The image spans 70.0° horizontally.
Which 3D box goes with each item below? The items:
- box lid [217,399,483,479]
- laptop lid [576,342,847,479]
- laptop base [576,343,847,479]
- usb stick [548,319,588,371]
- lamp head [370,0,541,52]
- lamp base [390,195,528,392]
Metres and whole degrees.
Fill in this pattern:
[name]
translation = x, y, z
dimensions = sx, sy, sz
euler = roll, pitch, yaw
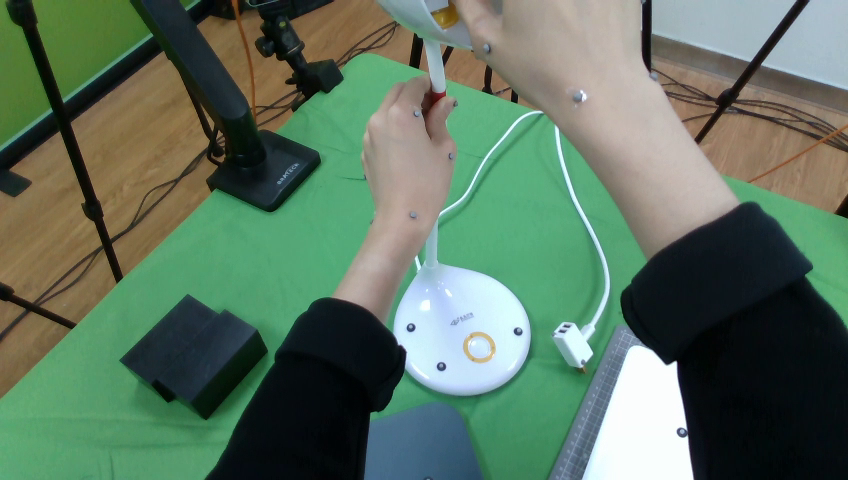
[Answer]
[box lid]
translation = -0.041, 0.338, 0.541
dimensions = 0.264, 0.015, 0.367
euler = -15, 55, -9
[laptop lid]
translation = 0.329, 0.257, 0.571
dimensions = 0.355, 0.013, 0.240
euler = 23, 60, 18
[laptop base]
translation = 0.331, 0.263, 0.581
dimensions = 0.352, 0.023, 0.234
euler = 22, 60, 16
[usb stick]
translation = 0.164, 0.119, 0.675
dimensions = 0.027, 0.059, 0.021
euler = -39, 19, -29
[lamp head]
translation = 0.007, -0.185, 0.408
dimensions = 0.112, 0.113, 0.122
euler = -34, 29, -21
[lamp base]
translation = 0.030, 0.048, 0.649
dimensions = 0.160, 0.182, 0.177
euler = -33, 56, -21
